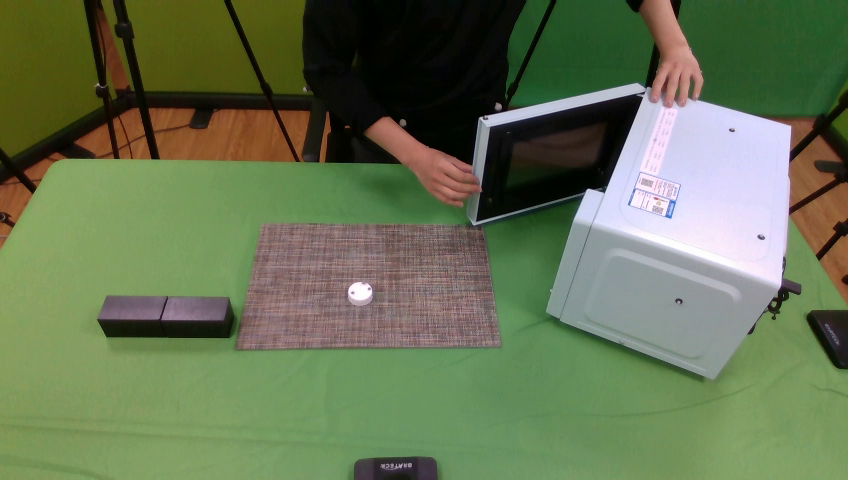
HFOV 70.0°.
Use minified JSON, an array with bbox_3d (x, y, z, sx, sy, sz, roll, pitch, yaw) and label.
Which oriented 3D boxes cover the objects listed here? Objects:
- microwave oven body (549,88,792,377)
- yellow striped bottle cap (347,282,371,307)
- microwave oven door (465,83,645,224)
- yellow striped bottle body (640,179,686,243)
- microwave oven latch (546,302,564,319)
[{"bbox_3d":[0.456,-0.028,1.088,0.325,0.261,0.440,20,47,16],"label":"microwave oven body"},{"bbox_3d":[-0.117,0.098,1.093,0.044,0.019,0.044,3,45,-3],"label":"yellow striped bottle cap"},{"bbox_3d":[0.258,-0.172,1.205,0.356,0.245,0.039,-16,50,-18],"label":"microwave oven door"},{"bbox_3d":[0.446,-0.057,1.127,0.063,0.121,0.062,-1,46,1],"label":"yellow striped bottle body"},{"bbox_3d":[0.242,0.102,1.081,0.030,0.029,0.079,21,48,17],"label":"microwave oven latch"}]
